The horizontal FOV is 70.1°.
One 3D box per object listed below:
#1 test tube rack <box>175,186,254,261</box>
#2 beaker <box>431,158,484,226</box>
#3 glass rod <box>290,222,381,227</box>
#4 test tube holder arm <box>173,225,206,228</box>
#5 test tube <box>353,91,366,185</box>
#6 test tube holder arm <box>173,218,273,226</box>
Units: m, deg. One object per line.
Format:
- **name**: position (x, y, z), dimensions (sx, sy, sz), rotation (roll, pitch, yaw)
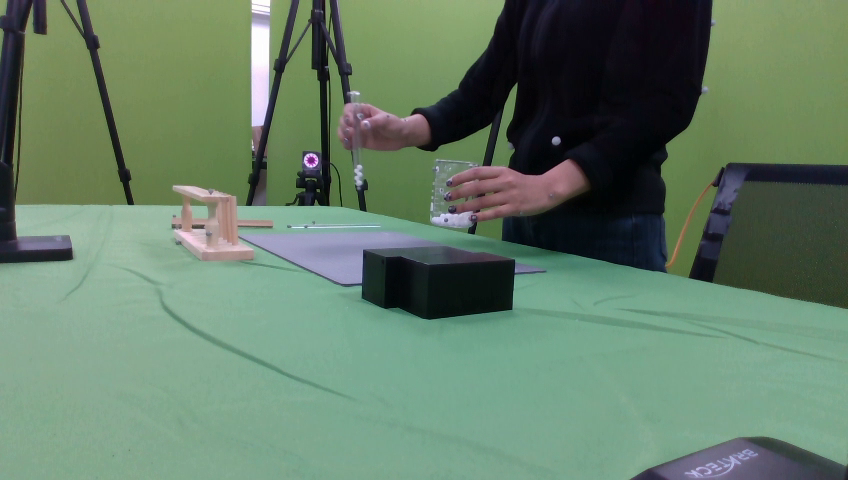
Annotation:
- **test tube rack**: position (-0.314, -0.031, 0.889), dimensions (0.067, 0.085, 0.241), rotation (-2, 8, -30)
- **beaker**: position (0.047, -0.074, 0.928), dimensions (0.074, 0.100, 0.083), rotation (2, 7, -23)
- **glass rod**: position (-0.178, -0.033, 1.247), dimensions (0.201, 0.008, 0.008), rotation (-2, 8, -30)
- **test tube holder arm**: position (-0.414, -0.030, 1.113), dimensions (0.088, 0.015, 0.010), rotation (-1, -21, -25)
- **test tube**: position (-0.103, -0.163, 0.972), dimensions (0.017, 0.150, 0.017), rotation (-1, 4, 0)
- **test tube holder arm**: position (-0.371, -0.033, 1.128), dimensions (0.179, 0.015, 0.013), rotation (-1, -21, -25)
